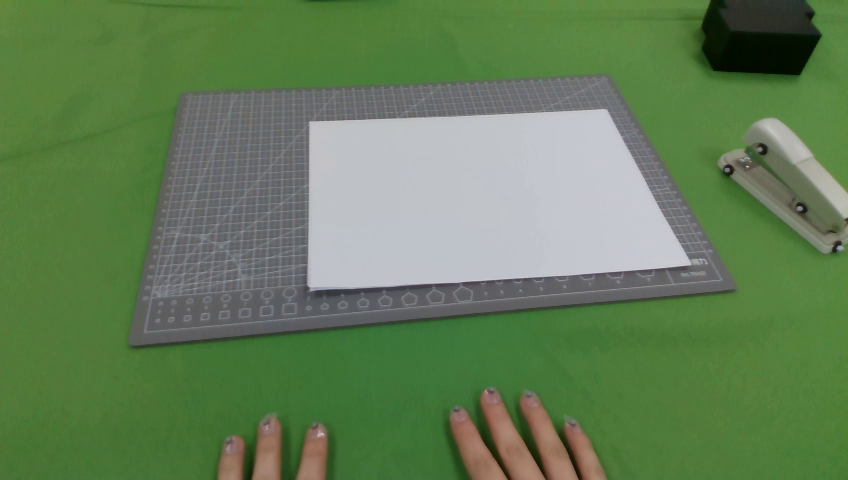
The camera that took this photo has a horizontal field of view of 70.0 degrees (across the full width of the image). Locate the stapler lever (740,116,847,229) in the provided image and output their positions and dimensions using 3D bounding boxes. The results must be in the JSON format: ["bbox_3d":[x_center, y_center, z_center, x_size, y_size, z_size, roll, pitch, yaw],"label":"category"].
[{"bbox_3d":[0.320,-0.062,0.517,0.027,0.040,0.117,-22,54,-18],"label":"stapler lever"}]

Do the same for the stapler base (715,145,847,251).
[{"bbox_3d":[0.318,-0.047,0.536,0.041,0.024,0.129,-22,55,-18],"label":"stapler base"}]
